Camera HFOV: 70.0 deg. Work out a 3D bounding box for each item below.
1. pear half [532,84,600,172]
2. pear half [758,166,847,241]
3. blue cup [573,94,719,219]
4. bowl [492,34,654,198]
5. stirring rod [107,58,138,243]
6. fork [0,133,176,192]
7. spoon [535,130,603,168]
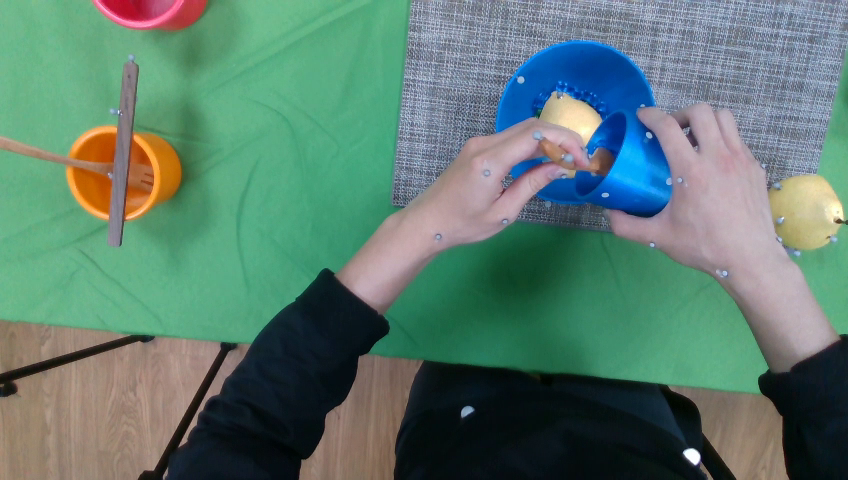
[{"bbox_3d":[0.143,-0.112,0.594,0.070,0.031,0.088,-20,96,0],"label":"pear half"},{"bbox_3d":[0.376,-0.033,0.604,0.056,0.109,0.076,-12,98,3],"label":"pear half"},{"bbox_3d":[0.197,-0.063,0.532,0.100,0.092,0.093,20,101,-8],"label":"blue cup"},{"bbox_3d":[0.139,-0.120,0.599,0.151,0.076,0.152,0,102,0],"label":"bowl"},{"bbox_3d":[-0.285,-0.082,0.572,0.014,0.006,0.176,10,103,-5],"label":"stirring rod"},{"bbox_3d":[-0.338,-0.080,0.573,0.209,0.018,0.028,15,116,-48],"label":"fork"},{"bbox_3d":[0.123,-0.066,0.477,0.021,0.194,0.041,-28,78,31],"label":"spoon"}]
